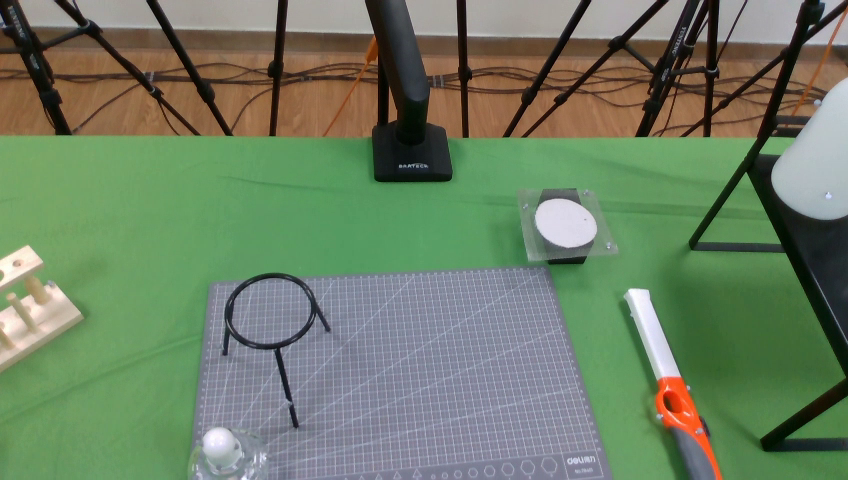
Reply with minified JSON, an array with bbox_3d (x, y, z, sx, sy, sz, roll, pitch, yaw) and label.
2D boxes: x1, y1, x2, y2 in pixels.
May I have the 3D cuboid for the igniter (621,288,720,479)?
[{"bbox_3d":[0.294,0.176,0.732,0.057,0.025,0.273,5,51,-16],"label":"igniter"}]

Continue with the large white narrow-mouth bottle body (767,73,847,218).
[{"bbox_3d":[0.460,-0.118,0.645,0.102,0.196,0.101,3,52,-4],"label":"large white narrow-mouth bottle body"}]

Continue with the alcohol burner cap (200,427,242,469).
[{"bbox_3d":[-0.189,0.191,0.559,0.034,0.048,0.033,3,58,-4],"label":"alcohol burner cap"}]

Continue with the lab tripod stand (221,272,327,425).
[{"bbox_3d":[-0.160,0.111,0.658,0.148,0.132,0.147,5,52,-5],"label":"lab tripod stand"}]

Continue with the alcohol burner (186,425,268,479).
[{"bbox_3d":[-0.193,0.212,0.588,0.078,0.120,0.077,5,50,-5],"label":"alcohol burner"}]

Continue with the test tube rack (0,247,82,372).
[{"bbox_3d":[-0.511,0.116,0.646,0.066,0.086,0.242,38,57,21],"label":"test tube rack"}]

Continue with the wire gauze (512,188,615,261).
[{"bbox_3d":[0.187,-0.025,0.828,0.122,0.011,0.124,-1,53,-7],"label":"wire gauze"}]
